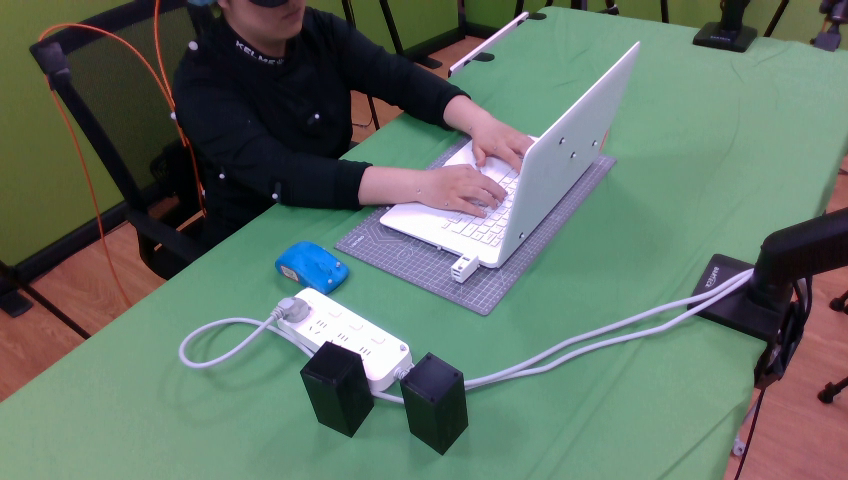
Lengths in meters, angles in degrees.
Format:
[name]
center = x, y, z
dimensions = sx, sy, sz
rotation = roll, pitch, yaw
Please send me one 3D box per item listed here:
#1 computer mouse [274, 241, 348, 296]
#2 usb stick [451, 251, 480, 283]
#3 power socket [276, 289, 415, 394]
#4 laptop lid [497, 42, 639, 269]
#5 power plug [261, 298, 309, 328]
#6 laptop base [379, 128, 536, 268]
[computer mouse]
center = -0.175, 0.040, 0.936
dimensions = 0.116, 0.041, 0.063
rotation = 27, 48, 27
[usb stick]
center = 0.066, 0.036, 0.899
dimensions = 0.021, 0.027, 0.059
rotation = 23, 46, 32
[power socket]
center = -0.113, 0.133, 0.821
dimensions = 0.225, 0.033, 0.072
rotation = 25, 49, 33
[laptop lid]
center = 0.221, -0.130, 0.913
dimensions = 0.013, 0.242, 0.357
rotation = 31, 51, 21
[power plug]
center = -0.192, 0.107, 0.831
dimensions = 0.073, 0.053, 0.035
rotation = -33, 43, -25
[laptop base]
center = 0.118, -0.088, 1.058
dimensions = 0.233, 0.023, 0.355
rotation = 19, 47, 33
